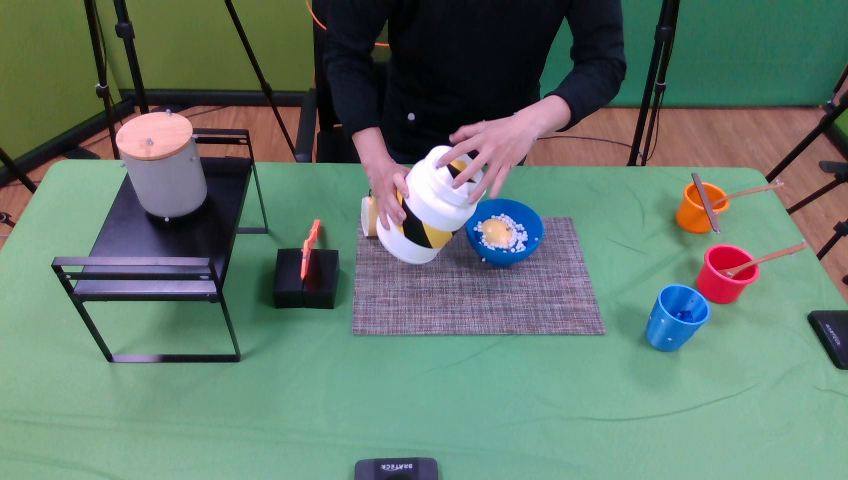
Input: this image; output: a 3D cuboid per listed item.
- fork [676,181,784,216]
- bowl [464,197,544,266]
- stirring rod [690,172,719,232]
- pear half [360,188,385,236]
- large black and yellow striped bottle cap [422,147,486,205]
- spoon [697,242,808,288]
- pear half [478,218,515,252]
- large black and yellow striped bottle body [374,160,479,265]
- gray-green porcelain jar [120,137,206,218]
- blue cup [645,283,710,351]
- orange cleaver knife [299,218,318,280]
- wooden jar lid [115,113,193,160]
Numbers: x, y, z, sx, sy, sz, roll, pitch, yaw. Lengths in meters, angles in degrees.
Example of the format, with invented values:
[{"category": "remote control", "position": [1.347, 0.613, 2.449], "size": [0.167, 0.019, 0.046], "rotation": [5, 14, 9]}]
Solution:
[{"category": "fork", "position": [0.618, -0.084, 1.235], "size": [0.207, 0.019, 0.028], "rotation": [-23, 21, 38]}, {"category": "bowl", "position": [0.149, -0.004, 1.167], "size": [0.151, 0.077, 0.150], "rotation": [2, 46, -2]}, {"category": "stirring rod", "position": [0.566, -0.080, 1.224], "size": [0.014, 0.006, 0.175], "rotation": [3, 46, 1]}, {"category": "pear half", "position": [-0.096, -0.060, 1.181], "size": [0.056, 0.110, 0.076], "rotation": [-14, 52, -17]}, {"category": "large black and yellow striped bottle cap", "position": [0.050, -0.107, 0.997], "size": [0.115, 0.019, 0.114], "rotation": [22, 43, -22]}, {"category": "spoon", "position": [0.601, 0.045, 1.116], "size": [0.194, 0.022, 0.041], "rotation": [-29, 34, 30]}, {"category": "pear half", "position": [0.144, -0.013, 1.167], "size": [0.070, 0.031, 0.087], "rotation": [-21, 55, -20]}, {"category": "large black and yellow striped bottle body", "position": [0.009, -0.057, 1.050], "size": [0.131, 0.184, 0.130], "rotation": [22, 43, -22]}, {"category": "gray-green porcelain jar", "position": [-0.403, -0.106, 0.946], "size": [0.106, 0.127, 0.105], "rotation": [3, 46, -2]}, {"category": "blue cup", "position": [0.426, 0.139, 1.041], "size": [0.093, 0.101, 0.092], "rotation": [4, 46, -3]}, {"category": "orange cleaver knife", "position": [-0.214, 0.013, 1.125], "size": [0.012, 0.077, 0.210], "rotation": [6, 17, -5]}, {"category": "wooden jar lid", "position": [-0.399, -0.151, 0.900], "size": [0.108, 0.021, 0.107], "rotation": [3, 46, -3]}]
